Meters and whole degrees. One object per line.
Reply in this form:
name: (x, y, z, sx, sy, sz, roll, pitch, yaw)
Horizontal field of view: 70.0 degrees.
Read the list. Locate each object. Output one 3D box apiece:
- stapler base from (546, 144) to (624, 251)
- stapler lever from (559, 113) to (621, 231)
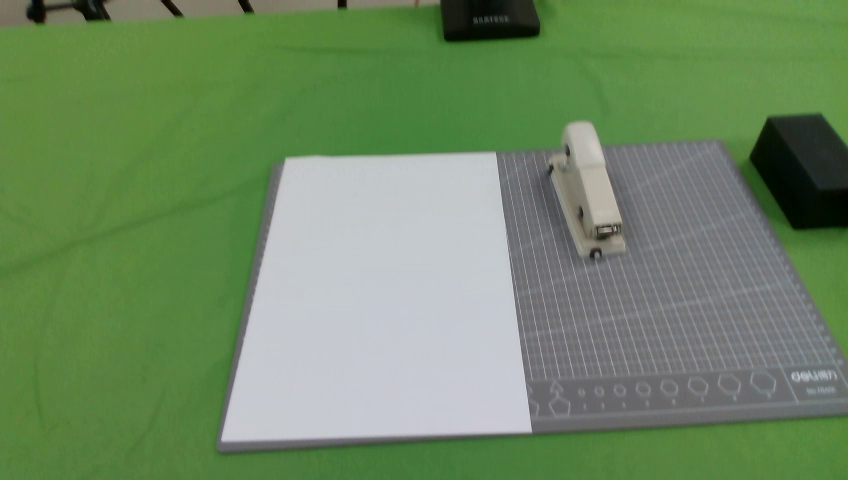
stapler base: (0.143, -0.047, 0.544, 0.041, 0.024, 0.129, -7, 51, -1)
stapler lever: (0.142, -0.062, 0.523, 0.027, 0.040, 0.117, -7, 51, -1)
